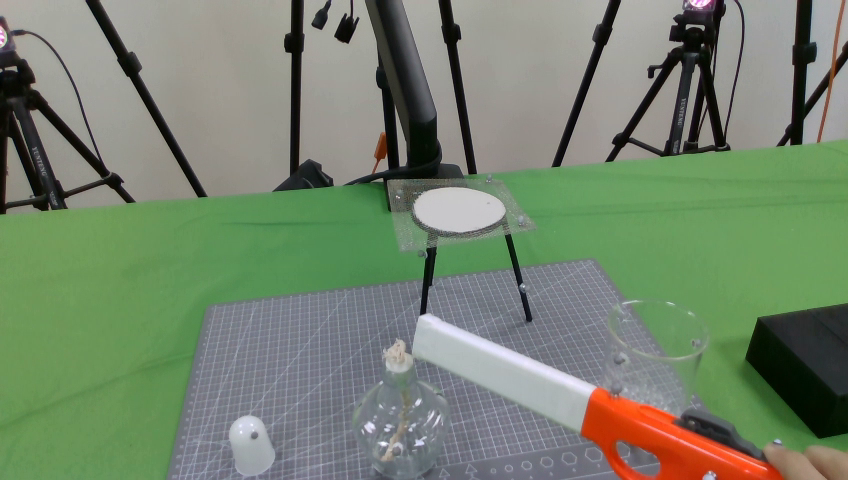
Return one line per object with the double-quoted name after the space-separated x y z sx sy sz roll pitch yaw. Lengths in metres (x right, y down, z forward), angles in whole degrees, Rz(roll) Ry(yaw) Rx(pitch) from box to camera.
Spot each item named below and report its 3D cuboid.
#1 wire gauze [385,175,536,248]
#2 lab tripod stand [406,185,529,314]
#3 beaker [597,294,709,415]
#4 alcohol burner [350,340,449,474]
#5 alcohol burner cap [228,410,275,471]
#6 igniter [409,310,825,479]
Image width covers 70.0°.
0.028 -0.033 0.561 0.122 0.011 0.124 -5 32 -8 "wire gauze"
0.035 0.022 0.601 0.148 0.132 0.147 0 31 0 "lab tripod stand"
0.178 0.104 0.494 0.074 0.101 0.083 -16 34 -21 "beaker"
-0.020 0.121 0.463 0.078 0.120 0.077 -1 34 1 "alcohol burner"
-0.138 0.156 0.481 0.034 0.048 0.033 -1 33 1 "alcohol burner cap"
0.105 0.103 0.355 0.274 0.057 0.025 20 16 32 "igniter"
